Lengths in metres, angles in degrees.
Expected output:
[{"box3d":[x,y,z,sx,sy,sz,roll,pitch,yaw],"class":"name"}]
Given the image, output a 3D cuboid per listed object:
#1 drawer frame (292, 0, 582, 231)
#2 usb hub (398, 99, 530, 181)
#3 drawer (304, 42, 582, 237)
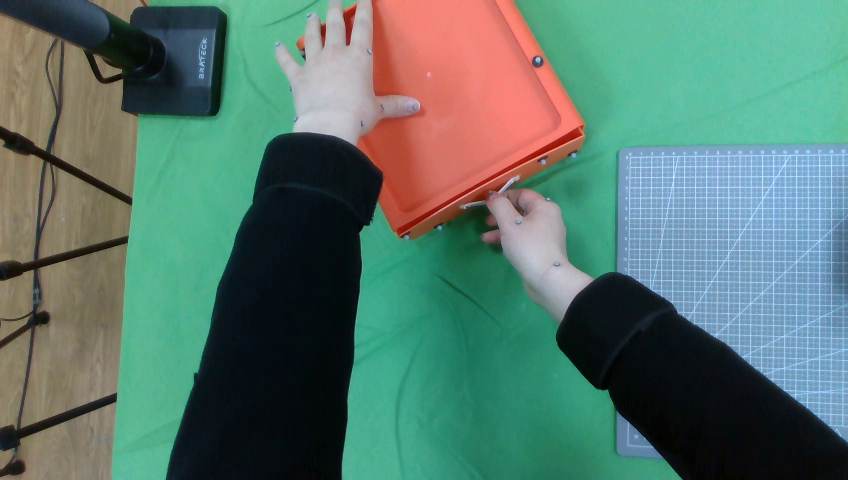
[{"box3d":[0.012,-0.145,0.591,0.201,0.083,0.213,-30,83,8],"class":"drawer frame"},{"box3d":[0.039,-0.099,0.603,0.125,0.025,0.049,-14,87,15],"class":"usb hub"},{"box3d":[0.017,-0.137,0.592,0.194,0.073,0.211,-29,83,9],"class":"drawer"}]
